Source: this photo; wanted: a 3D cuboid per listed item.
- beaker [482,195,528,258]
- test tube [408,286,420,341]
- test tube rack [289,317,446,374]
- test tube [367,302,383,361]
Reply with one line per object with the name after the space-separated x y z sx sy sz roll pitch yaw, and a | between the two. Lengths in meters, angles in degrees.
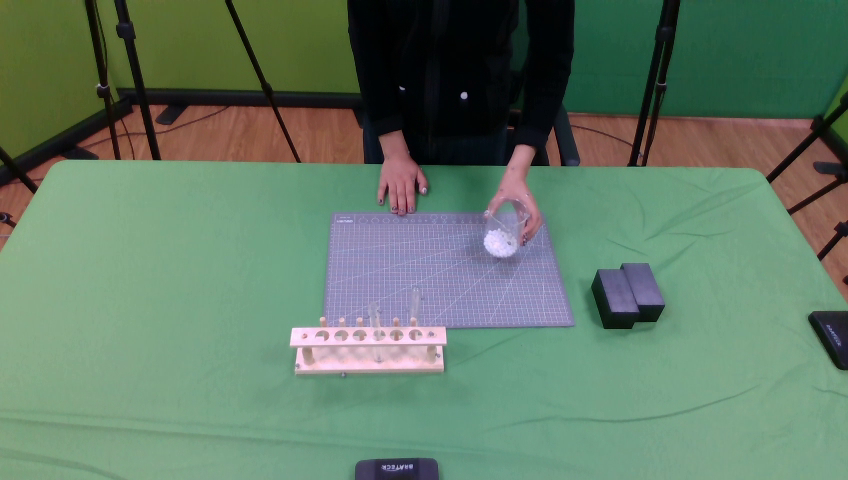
0.148 -0.020 1.130 0.074 0.101 0.083 5 48 0 | beaker
-0.017 0.123 0.974 0.017 0.151 0.017 2 48 -2 | test tube
-0.089 0.167 0.988 0.242 0.085 0.066 0 46 -4 | test tube rack
-0.075 0.145 0.941 0.017 0.151 0.017 0 49 0 | test tube
